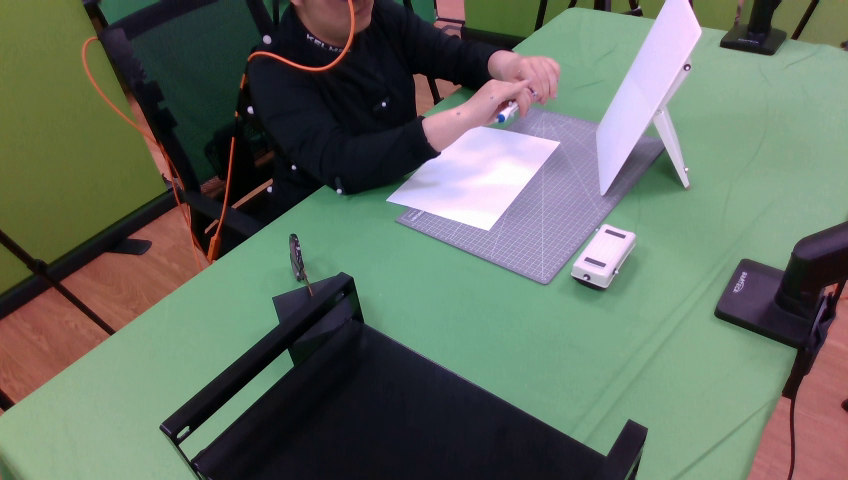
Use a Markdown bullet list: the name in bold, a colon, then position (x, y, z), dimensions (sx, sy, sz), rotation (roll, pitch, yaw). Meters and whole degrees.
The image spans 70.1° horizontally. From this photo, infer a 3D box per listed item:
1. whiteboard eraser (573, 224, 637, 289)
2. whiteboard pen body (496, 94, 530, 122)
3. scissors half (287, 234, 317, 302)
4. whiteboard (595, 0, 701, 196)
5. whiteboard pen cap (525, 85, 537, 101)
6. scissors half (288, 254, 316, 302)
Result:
- **whiteboard eraser**: position (0.267, 0.025, 0.891), dimensions (0.055, 0.042, 0.113), rotation (19, 47, 31)
- **whiteboard pen body**: position (0.161, -0.234, 1.052), dimensions (0.017, 0.017, 0.141), rotation (16, 36, 26)
- **scissors half**: position (-0.178, 0.040, 0.885), dimensions (0.013, 0.040, 0.173), rotation (-11, 36, -21)
- **whiteboard**: position (0.420, -0.227, 1.010), dimensions (0.144, 0.305, 0.216), rotation (18, 42, -2)
- **whiteboard pen cap**: position (0.191, -0.264, 1.093), dimensions (0.018, 0.018, 0.033), rotation (13, 52, 23)
- **scissors half**: position (-0.178, 0.058, 0.894), dimensions (0.013, 0.040, 0.174), rotation (-15, 20, -18)
